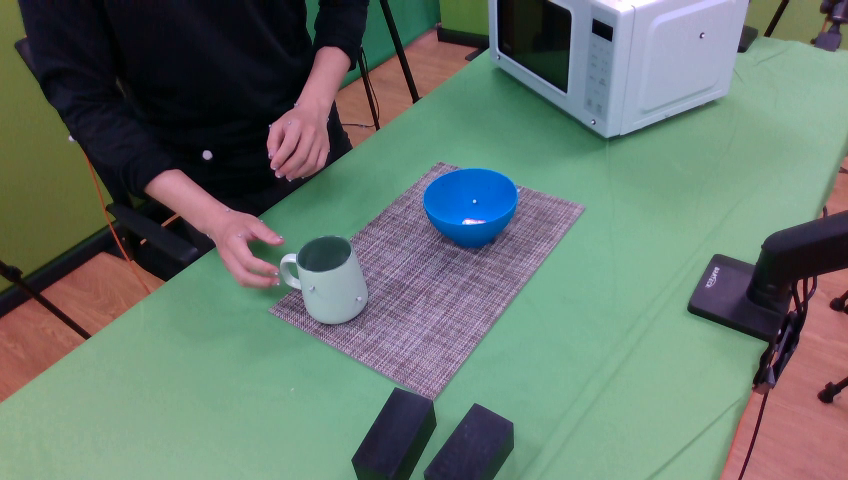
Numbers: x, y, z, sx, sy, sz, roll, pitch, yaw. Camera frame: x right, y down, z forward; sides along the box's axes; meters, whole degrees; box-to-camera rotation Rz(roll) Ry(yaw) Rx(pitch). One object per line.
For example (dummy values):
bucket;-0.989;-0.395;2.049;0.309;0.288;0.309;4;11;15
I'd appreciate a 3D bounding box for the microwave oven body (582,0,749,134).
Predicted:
microwave oven body;0.382;-0.444;1.246;0.327;0.261;0.437;-22;42;-16

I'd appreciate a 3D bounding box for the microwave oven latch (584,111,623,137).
microwave oven latch;0.337;-0.222;1.142;0.030;0.029;0.078;-21;42;-14

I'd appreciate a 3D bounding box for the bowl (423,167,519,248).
bowl;0.075;-0.041;0.959;0.151;0.077;0.150;-4;40;4

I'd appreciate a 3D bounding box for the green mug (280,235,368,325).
green mug;-0.146;0.055;0.857;0.125;0.105;0.092;8;43;17

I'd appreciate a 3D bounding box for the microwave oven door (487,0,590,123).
microwave oven door;0.232;-0.420;1.230;0.039;0.245;0.352;-22;43;-16
